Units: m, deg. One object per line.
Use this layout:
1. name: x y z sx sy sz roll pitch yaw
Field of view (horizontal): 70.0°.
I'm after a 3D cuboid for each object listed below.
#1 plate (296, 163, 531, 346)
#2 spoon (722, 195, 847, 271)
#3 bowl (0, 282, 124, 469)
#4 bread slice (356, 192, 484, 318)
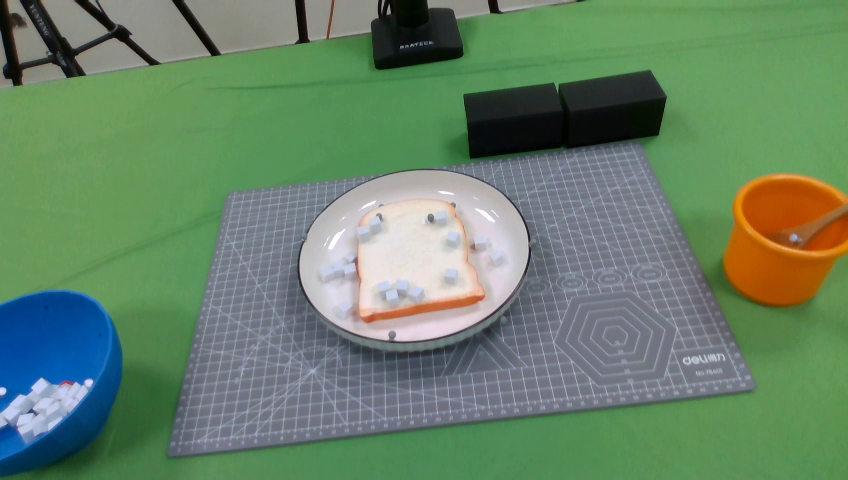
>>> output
1. plate: -0.010 0.011 0.549 0.209 0.038 0.207 -4 48 5
2. spoon: 0.324 -0.026 0.465 0.022 0.194 0.041 28 45 -27
3. bowl: -0.299 0.115 0.472 0.151 0.077 0.150 -4 48 5
4. bread slice: -0.013 0.009 0.554 0.107 0.018 0.133 -12 49 -2
